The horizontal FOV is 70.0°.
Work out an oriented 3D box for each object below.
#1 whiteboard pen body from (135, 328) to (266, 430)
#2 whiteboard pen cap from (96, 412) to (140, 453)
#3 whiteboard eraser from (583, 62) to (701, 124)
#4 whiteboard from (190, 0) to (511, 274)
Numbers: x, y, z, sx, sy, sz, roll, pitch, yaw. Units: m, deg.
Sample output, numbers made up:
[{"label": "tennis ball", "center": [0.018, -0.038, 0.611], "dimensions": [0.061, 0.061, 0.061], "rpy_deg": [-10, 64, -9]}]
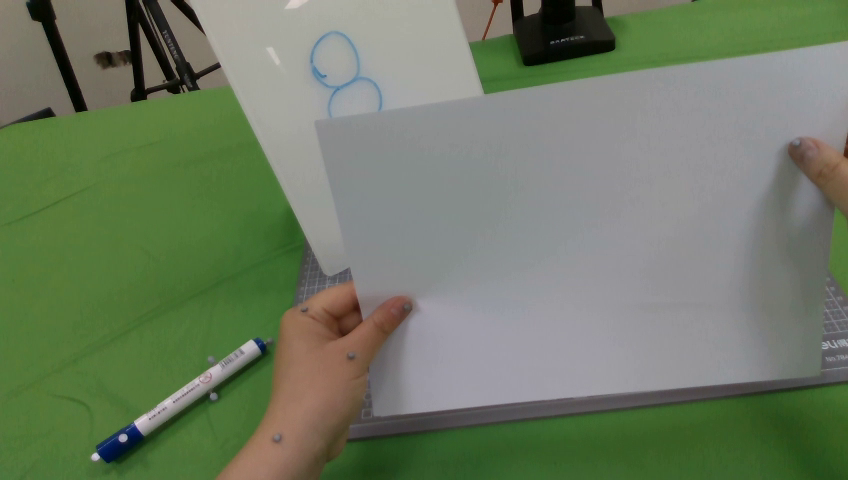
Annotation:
[{"label": "whiteboard pen body", "center": [-0.191, 0.118, 0.495], "dimensions": [0.141, 0.017, 0.017], "rpy_deg": [-36, 48, -24]}, {"label": "whiteboard pen cap", "center": [-0.235, 0.148, 0.472], "dimensions": [0.033, 0.018, 0.018], "rpy_deg": [-37, 48, -24]}, {"label": "whiteboard eraser", "center": [0.235, -0.157, 0.656], "dimensions": [0.112, 0.042, 0.055], "rpy_deg": [-10, 46, 3]}, {"label": "whiteboard", "center": [-0.079, -0.165, 0.596], "dimensions": [0.217, 0.308, 0.142], "rpy_deg": [-28, 25, -14]}]
